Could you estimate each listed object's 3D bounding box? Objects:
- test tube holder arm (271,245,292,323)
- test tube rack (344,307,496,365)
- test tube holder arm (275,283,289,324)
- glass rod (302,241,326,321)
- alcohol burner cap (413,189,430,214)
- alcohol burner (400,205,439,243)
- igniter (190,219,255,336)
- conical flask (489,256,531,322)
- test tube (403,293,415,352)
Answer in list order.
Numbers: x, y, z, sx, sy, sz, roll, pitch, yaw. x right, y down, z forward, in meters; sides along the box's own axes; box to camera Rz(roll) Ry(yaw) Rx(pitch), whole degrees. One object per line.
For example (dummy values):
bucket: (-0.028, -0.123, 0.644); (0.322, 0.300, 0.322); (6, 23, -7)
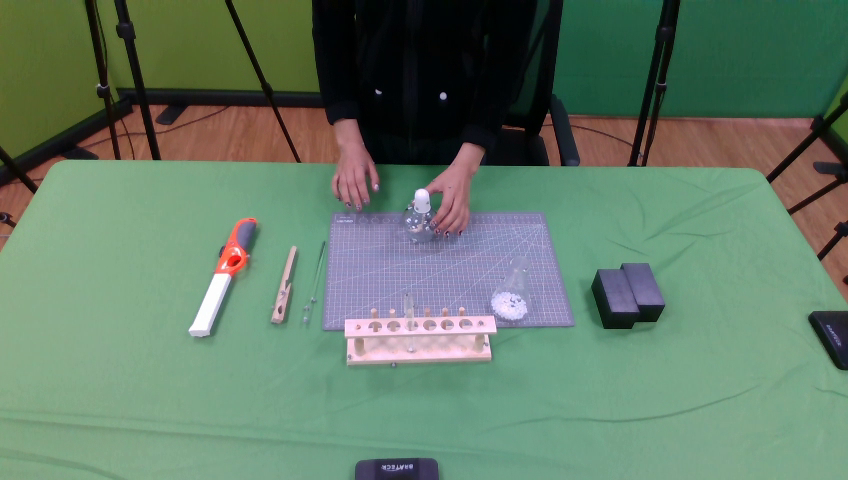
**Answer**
test tube holder arm: (-0.259, 0.076, 1.106); (0.013, 0.015, 0.177); (29, 38, -28)
test tube rack: (-0.009, 0.154, 1.007); (0.242, 0.085, 0.066); (-1, 46, -5)
test tube holder arm: (-0.254, 0.111, 1.077); (0.010, 0.015, 0.087); (30, 38, -27)
glass rod: (-0.203, 0.071, 1.124); (0.008, 0.008, 0.198); (4, 44, 1)
alcohol burner cap: (-0.006, -0.076, 1.155); (0.034, 0.048, 0.033); (-1, 49, 2)
alcohol burner: (-0.007, -0.052, 1.182); (0.078, 0.119, 0.077); (3, 47, -3)
igniter: (-0.365, 0.058, 1.110); (0.057, 0.025, 0.275); (-1, 45, 8)
conical flask: (0.158, 0.081, 1.061); (0.075, 0.122, 0.075); (2, 46, -2)
test tube: (-0.024, 0.133, 0.957); (0.017, 0.151, 0.017); (0, 48, 0)
